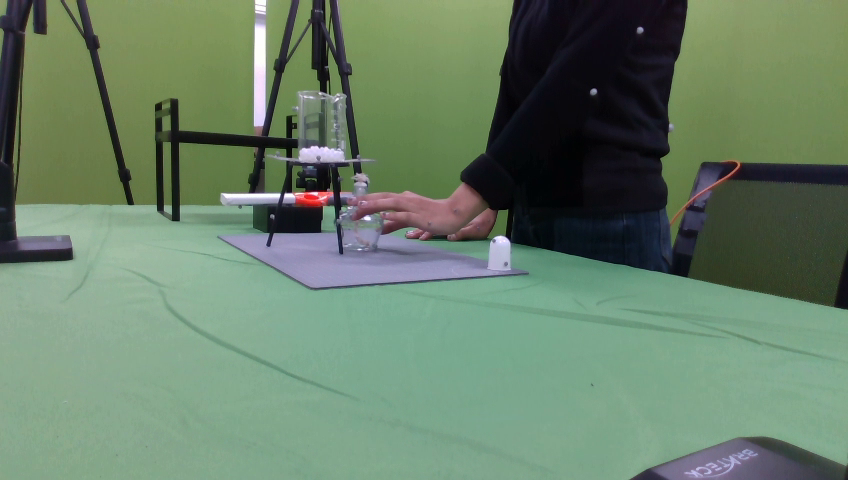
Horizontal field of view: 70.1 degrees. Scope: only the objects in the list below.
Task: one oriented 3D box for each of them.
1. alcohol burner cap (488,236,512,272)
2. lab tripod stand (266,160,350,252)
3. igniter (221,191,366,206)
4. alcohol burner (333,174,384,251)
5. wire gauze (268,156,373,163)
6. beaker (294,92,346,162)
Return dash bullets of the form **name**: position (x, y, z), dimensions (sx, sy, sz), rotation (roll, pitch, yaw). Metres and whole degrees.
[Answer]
- **alcohol burner cap**: position (0.102, 0.018, 0.802), dimensions (0.034, 0.048, 0.034), rotation (1, 9, 0)
- **lab tripod stand**: position (-0.163, -0.054, 0.914), dimensions (0.148, 0.131, 0.148), rotation (2, 9, 0)
- **igniter**: position (-0.240, -0.078, 1.150), dimensions (0.278, 0.025, 0.057), rotation (-3, 20, -32)
- **alcohol burner**: position (-0.100, -0.043, 0.932), dimensions (0.078, 0.119, 0.078), rotation (4, 6, 0)
- **wire gauze**: position (-0.154, -0.119, 0.910), dimensions (0.122, 0.011, 0.124), rotation (-4, 8, -44)
- **beaker**: position (-0.152, -0.165, 0.896), dimensions (0.074, 0.100, 0.083), rotation (-4, 10, -33)
